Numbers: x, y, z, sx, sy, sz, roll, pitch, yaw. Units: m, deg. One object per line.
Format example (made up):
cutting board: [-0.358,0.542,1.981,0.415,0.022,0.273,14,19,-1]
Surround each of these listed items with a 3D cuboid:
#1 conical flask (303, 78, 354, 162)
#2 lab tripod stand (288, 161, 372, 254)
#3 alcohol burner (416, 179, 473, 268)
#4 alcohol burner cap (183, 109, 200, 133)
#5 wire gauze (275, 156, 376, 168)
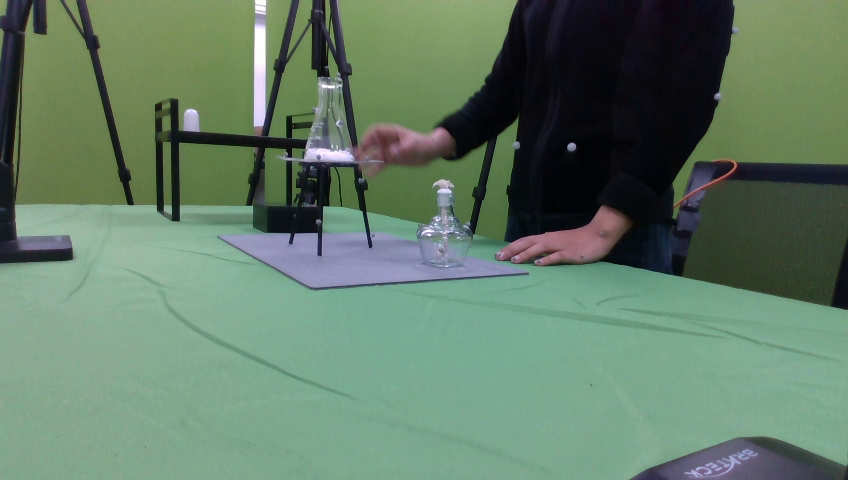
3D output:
conical flask: [-0.140,-0.175,0.892,0.075,0.122,0.075,2,7,0]
lab tripod stand: [-0.148,-0.052,0.908,0.148,0.131,0.148,1,8,0]
alcohol burner: [0.027,-0.022,0.816,0.078,0.119,0.078,1,7,0]
alcohol burner cap: [-0.472,-0.241,1.229,0.034,0.048,0.034,3,8,0]
wire gauze: [-0.142,-0.116,0.899,0.122,0.011,0.124,-1,5,-36]
